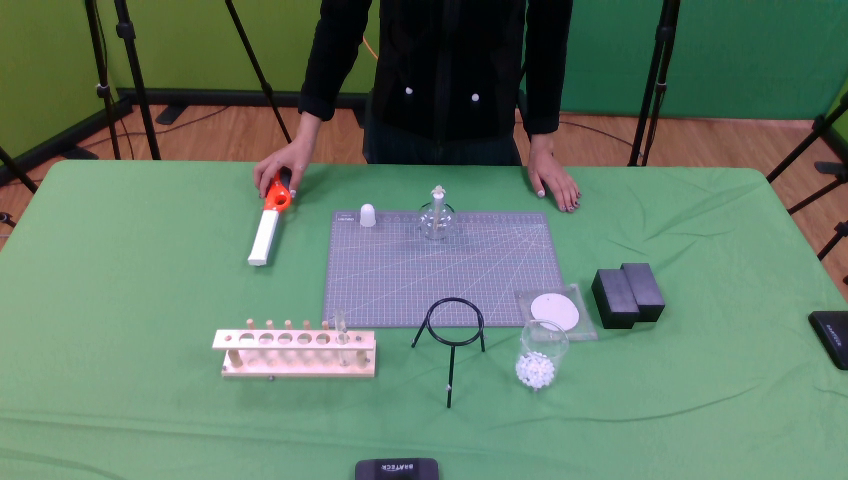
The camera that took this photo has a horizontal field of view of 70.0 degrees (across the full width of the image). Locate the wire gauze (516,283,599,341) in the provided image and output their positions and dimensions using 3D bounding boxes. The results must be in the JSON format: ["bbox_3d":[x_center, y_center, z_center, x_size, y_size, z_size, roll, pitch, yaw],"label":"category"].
[{"bbox_3d":[0.240,0.131,1.094,0.125,0.011,0.120,-3,48,-8],"label":"wire gauze"}]

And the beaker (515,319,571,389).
[{"bbox_3d":[0.186,0.186,0.980,0.074,0.101,0.083,-23,51,-24],"label":"beaker"}]

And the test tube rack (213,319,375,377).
[{"bbox_3d":[-0.202,0.170,0.977,0.242,0.085,0.066,1,46,-3],"label":"test tube rack"}]

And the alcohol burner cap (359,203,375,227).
[{"bbox_3d":[-0.115,-0.054,1.224,0.034,0.048,0.033,3,47,-3],"label":"alcohol burner cap"}]

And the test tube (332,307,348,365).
[{"bbox_3d":[-0.128,0.151,0.931,0.017,0.151,0.017,1,50,-2],"label":"test tube"}]

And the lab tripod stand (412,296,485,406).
[{"bbox_3d":[0.045,0.168,0.963,0.148,0.132,0.147,3,47,-3],"label":"lab tripod stand"}]

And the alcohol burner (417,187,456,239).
[{"bbox_3d":[0.025,-0.059,1.189,0.078,0.120,0.077,1,48,-1],"label":"alcohol burner"}]

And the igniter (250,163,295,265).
[{"bbox_3d":[-0.302,-0.061,1.215,0.057,0.025,0.275,2,48,2],"label":"igniter"}]
